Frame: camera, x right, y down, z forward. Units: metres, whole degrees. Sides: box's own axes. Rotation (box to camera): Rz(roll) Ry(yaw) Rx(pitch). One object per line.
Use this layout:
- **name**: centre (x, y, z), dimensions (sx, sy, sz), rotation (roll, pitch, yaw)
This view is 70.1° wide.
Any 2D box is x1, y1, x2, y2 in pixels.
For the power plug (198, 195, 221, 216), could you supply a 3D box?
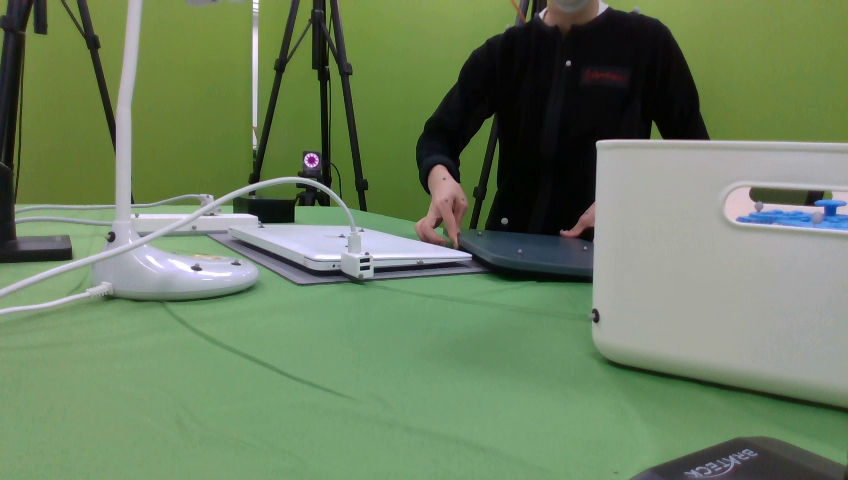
- **power plug**: centre (-0.386, -0.055, 1.088), dimensions (0.035, 0.052, 0.072), rotation (-2, 6, -24)

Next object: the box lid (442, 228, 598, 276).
- **box lid**: centre (0.185, 0.017, 0.916), dimensions (0.264, 0.015, 0.370), rotation (5, 7, -10)

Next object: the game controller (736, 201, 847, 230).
- **game controller**: centre (0.291, 0.000, 0.426), dimensions (0.097, 0.051, 0.155), rotation (-1, 7, 5)

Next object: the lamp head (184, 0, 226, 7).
- **lamp head**: centre (-0.229, -0.320, 0.627), dimensions (0.112, 0.112, 0.123), rotation (6, -35, 26)

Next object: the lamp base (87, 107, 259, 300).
- **lamp base**: centre (-0.254, -0.039, 0.603), dimensions (0.160, 0.180, 0.179), rotation (5, 10, 18)

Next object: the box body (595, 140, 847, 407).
- **box body**: centre (0.309, 0.006, 0.510), dimensions (0.253, 0.160, 0.366), rotation (6, 8, 29)

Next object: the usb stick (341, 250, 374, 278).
- **usb stick**: centre (-0.078, 0.026, 0.686), dimensions (0.021, 0.027, 0.059), rotation (-7, 8, -30)

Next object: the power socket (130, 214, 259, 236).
- **power socket**: centre (-0.397, -0.028, 1.048), dimensions (0.228, 0.032, 0.072), rotation (-3, 7, -35)

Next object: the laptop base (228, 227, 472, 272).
- **laptop base**: centre (-0.124, 0.011, 0.889), dimensions (0.237, 0.023, 0.352), rotation (2, 6, -35)

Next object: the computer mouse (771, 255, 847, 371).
- **computer mouse**: centre (0.345, 0.057, 0.519), dimensions (0.063, 0.041, 0.117), rotation (12, 47, 4)

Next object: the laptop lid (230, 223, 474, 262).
- **laptop lid**: centre (-0.121, 0.000, 0.888), dimensions (0.243, 0.013, 0.355), rotation (1, 7, -33)
